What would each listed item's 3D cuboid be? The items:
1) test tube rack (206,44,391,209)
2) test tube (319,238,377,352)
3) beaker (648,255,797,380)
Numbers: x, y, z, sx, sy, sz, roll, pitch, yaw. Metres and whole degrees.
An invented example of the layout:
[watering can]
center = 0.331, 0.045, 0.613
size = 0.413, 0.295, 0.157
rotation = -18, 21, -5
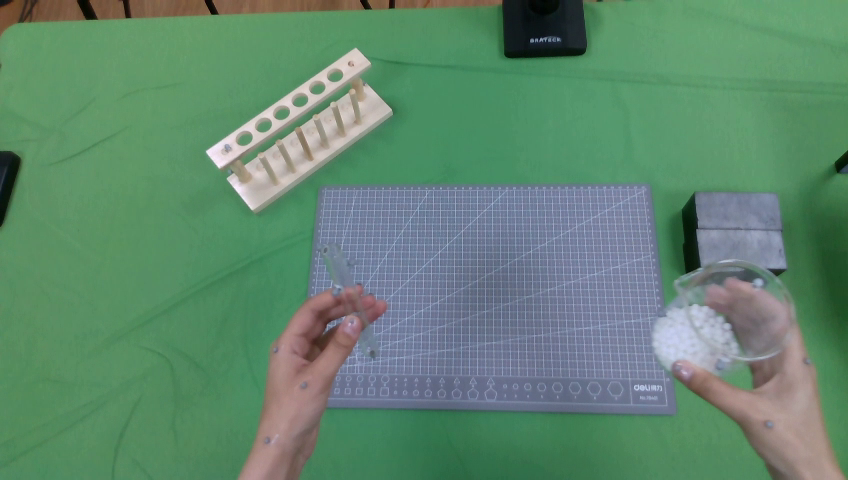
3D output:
[test tube rack]
center = -0.164, -0.154, 0.824
size = 0.242, 0.086, 0.066
rotation = -38, 70, -11
[test tube]
center = -0.061, 0.052, 0.506
size = 0.017, 0.152, 0.017
rotation = -5, 49, 6
[beaker]
center = 0.217, 0.062, 0.463
size = 0.083, 0.101, 0.073
rotation = 25, 69, 13
